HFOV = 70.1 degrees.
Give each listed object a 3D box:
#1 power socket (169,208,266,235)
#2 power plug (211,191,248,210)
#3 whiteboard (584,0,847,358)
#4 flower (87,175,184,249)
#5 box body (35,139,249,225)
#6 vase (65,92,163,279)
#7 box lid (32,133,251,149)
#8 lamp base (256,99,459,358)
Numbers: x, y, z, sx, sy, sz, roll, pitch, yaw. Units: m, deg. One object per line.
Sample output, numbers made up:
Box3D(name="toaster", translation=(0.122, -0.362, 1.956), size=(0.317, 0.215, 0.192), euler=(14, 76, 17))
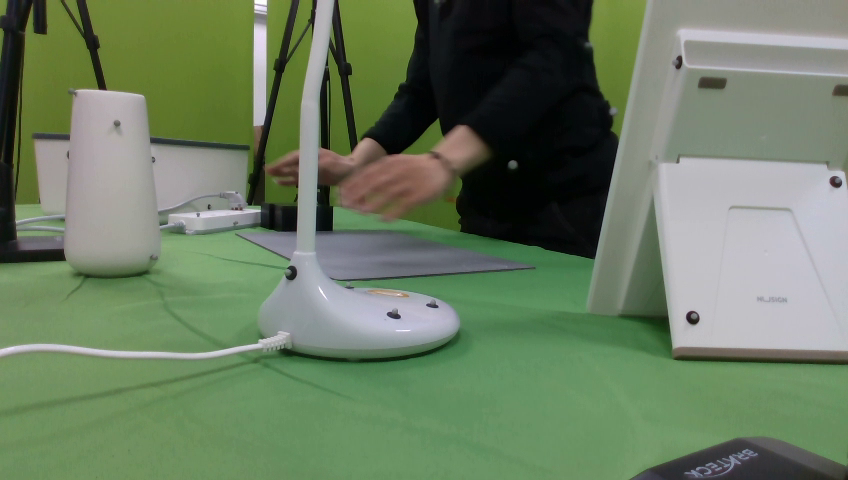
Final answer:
Box3D(name="power socket", translation=(-0.379, -0.038, 1.130), size=(0.072, 0.032, 0.227), euler=(4, 8, 18))
Box3D(name="power plug", translation=(-0.384, -0.071, 1.206), size=(0.072, 0.052, 0.035), euler=(1, 8, 27))
Box3D(name="whiteboard", translation=(0.269, -0.034, 0.466), size=(0.217, 0.305, 0.143), euler=(2, 27, -1))
Box3D(name="flower", translation=(-0.610, -0.063, 1.291), size=(0.044, 0.038, 0.361), euler=(-5, 25, 9))
Box3D(name="box body", translation=(-0.561, -0.127, 1.258), size=(0.254, 0.160, 0.365), euler=(4, 8, 13))
Box3D(name="vase", translation=(-0.347, -0.060, 0.673), size=(0.098, 0.200, 0.098), euler=(1, 7, 0))
Box3D(name="box lid", translation=(-0.558, -0.200, 1.250), size=(0.263, 0.015, 0.372), euler=(5, 8, 13))
Box3D(name="lamp base", translation=(-0.055, -0.013, 0.463), size=(0.160, 0.180, 0.180), euler=(6, 11, 27))
